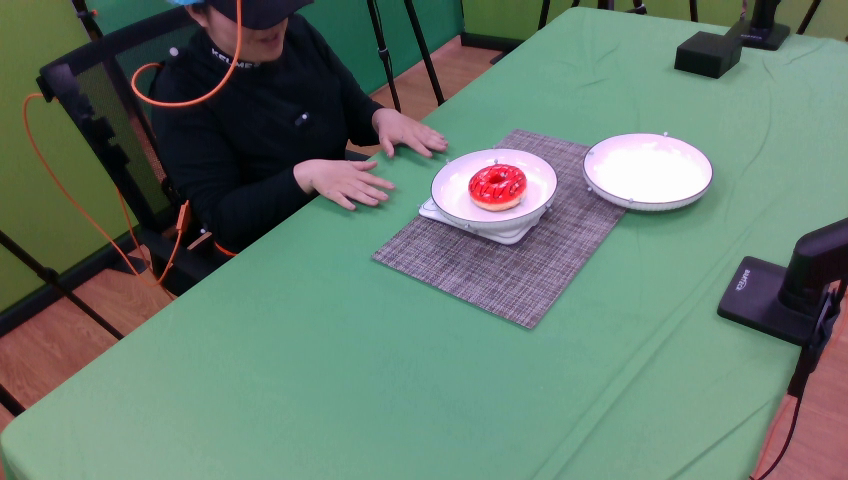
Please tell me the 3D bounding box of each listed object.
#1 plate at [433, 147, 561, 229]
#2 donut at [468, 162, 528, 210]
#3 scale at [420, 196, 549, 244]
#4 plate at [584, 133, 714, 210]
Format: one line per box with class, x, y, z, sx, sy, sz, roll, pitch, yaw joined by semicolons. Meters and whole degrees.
plate;0.120;-0.082;0.996;0.207;0.039;0.206;-6;40;5
donut;0.121;-0.088;0.985;0.099;0.048;0.098;-7;42;7
scale;0.106;-0.065;1.029;0.199;0.032;0.149;21;48;32
plate;0.379;-0.113;1.030;0.209;0.038;0.208;-4;41;4
